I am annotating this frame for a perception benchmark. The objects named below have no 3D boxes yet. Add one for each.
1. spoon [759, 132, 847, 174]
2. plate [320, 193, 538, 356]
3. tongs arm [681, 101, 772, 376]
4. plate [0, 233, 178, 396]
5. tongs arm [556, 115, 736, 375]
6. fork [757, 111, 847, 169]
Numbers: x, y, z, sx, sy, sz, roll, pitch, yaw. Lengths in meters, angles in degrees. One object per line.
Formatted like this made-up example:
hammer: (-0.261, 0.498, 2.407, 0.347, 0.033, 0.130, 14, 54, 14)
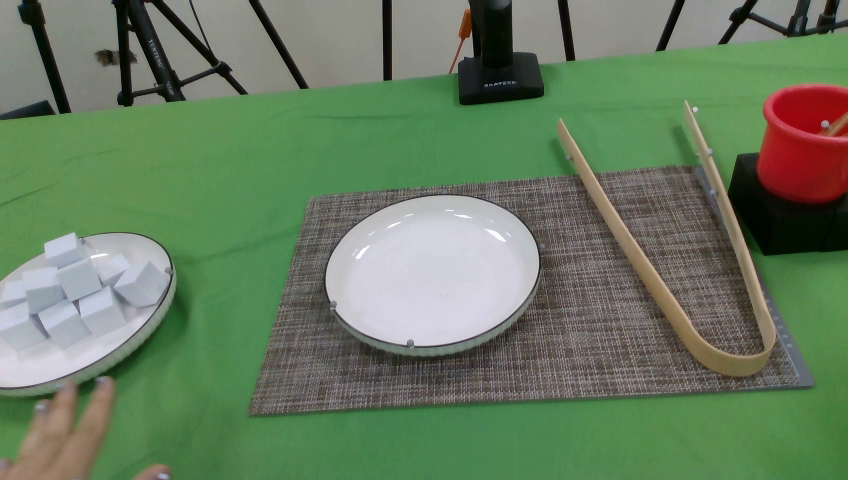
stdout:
spoon: (0.367, -0.090, 0.500, 0.041, 0.194, 0.021, -28, 87, -26)
plate: (0.005, 0.033, 0.588, 0.207, 0.039, 0.205, -5, 42, 5)
tongs arm: (0.283, -0.031, 0.611, 0.051, 0.027, 0.381, -1, 43, 7)
plate: (-0.350, 0.073, 0.613, 0.209, 0.038, 0.207, -5, 41, 5)
tongs arm: (0.201, -0.022, 0.617, 0.028, 0.028, 0.383, -8, 42, -5)
fork: (0.396, -0.121, 0.529, 0.207, 0.019, 0.028, -38, 8, 30)
